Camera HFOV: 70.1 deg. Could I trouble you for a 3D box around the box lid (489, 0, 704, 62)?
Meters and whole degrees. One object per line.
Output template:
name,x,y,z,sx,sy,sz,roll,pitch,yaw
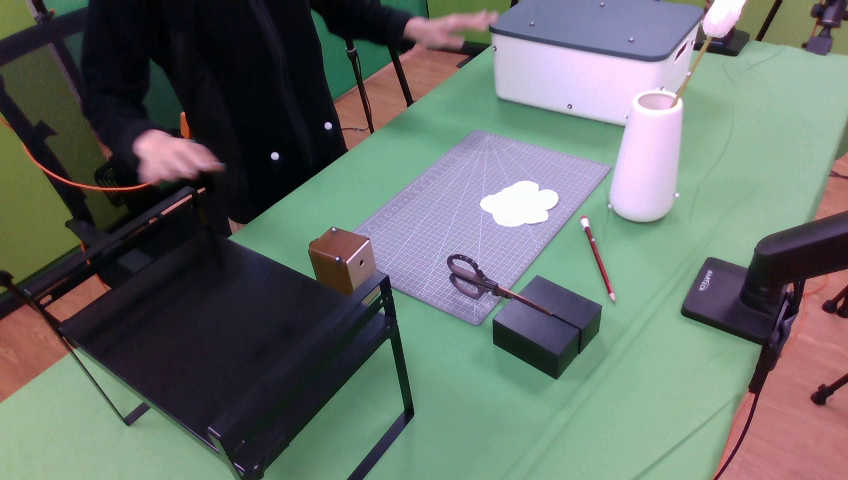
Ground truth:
box lid,0.346,-0.440,1.218,0.369,0.015,0.264,21,48,29

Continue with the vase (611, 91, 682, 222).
vase,0.348,-0.125,0.935,0.098,0.201,0.097,-3,40,3

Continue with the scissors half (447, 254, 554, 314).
scissors half,0.101,0.060,0.821,0.174,0.040,0.013,28,51,29

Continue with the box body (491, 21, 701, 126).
box body,0.352,-0.384,1.267,0.361,0.161,0.255,21,48,29

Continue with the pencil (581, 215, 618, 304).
pencil,0.266,0.026,0.917,0.012,0.012,0.193,-6,42,1

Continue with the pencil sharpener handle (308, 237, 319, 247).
pencil sharpener handle,-0.158,0.017,0.892,0.030,0.068,0.036,18,62,28

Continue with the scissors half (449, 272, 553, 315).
scissors half,0.104,0.076,0.834,0.173,0.040,0.013,15,48,42

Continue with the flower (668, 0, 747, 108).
flower,0.355,-0.187,0.880,0.038,0.362,0.044,30,48,14

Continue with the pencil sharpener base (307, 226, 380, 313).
pencil sharpener base,-0.116,0.043,0.875,0.076,0.107,0.061,18,47,27
